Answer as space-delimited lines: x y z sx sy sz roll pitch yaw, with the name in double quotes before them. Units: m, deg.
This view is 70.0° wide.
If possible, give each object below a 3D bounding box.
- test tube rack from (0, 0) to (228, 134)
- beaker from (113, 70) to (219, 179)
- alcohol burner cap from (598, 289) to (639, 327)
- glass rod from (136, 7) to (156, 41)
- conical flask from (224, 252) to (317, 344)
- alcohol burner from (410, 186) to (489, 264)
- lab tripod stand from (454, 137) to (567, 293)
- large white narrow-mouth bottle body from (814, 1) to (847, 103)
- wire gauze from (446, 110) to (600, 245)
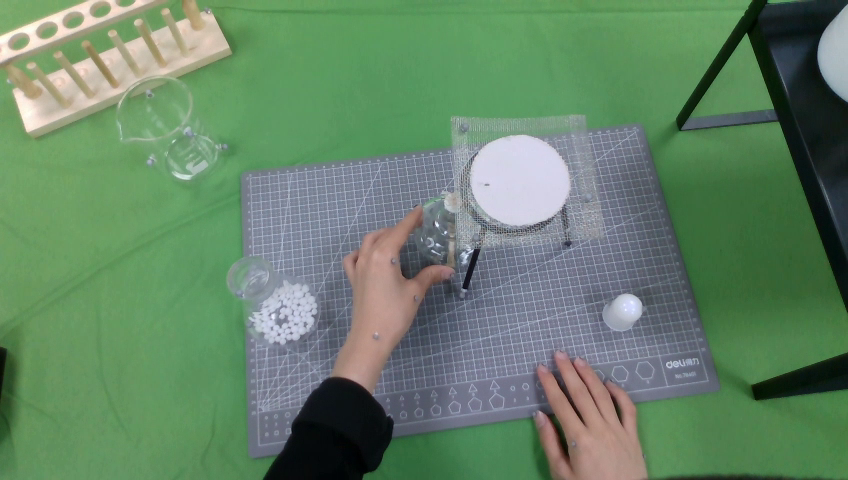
"test tube rack" -0.355 -0.214 0.674 0.242 0.086 0.066 -26 72 -9
"beaker" -0.264 -0.112 0.629 0.073 0.101 0.084 38 74 14
"alcohol burner cap" 0.191 0.064 0.590 0.034 0.048 0.033 0 70 1
"glass rod" -0.313 -0.277 0.627 0.008 0.201 0.008 2 67 -4
"conical flask" -0.145 0.048 0.554 0.075 0.122 0.075 0 69 1
"alcohol burner" 0.025 -0.020 0.583 0.078 0.120 0.077 1 68 -1
"lab tripod stand" 0.076 -0.027 0.575 0.148 0.132 0.147 0 68 -1
"large white narrow-mouth bottle body" 0.365 -0.179 0.410 0.102 0.196 0.101 0 67 0
"wire gauze" 0.082 -0.057 0.513 0.121 0.011 0.124 -2 70 -2
